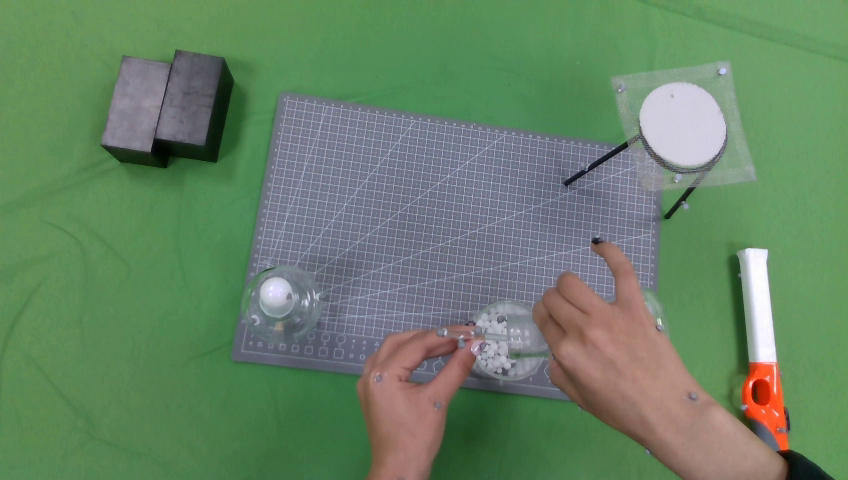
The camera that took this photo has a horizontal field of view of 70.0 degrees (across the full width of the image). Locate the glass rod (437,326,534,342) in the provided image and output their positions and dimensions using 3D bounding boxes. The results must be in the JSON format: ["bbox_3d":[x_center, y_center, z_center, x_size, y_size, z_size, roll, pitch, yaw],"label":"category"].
[{"bbox_3d":[0.059,0.081,0.515,0.008,0.201,0.008,-6,78,28],"label":"glass rod"}]

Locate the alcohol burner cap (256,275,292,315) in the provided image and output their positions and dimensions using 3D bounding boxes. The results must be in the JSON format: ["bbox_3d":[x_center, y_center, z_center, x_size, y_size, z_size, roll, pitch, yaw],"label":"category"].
[{"bbox_3d":[-0.136,0.047,0.550,0.034,0.048,0.033,4,71,-12],"label":"alcohol burner cap"}]

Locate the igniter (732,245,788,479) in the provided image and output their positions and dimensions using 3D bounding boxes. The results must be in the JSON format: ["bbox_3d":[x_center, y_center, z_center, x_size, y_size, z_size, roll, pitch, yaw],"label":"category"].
[{"bbox_3d":[0.371,0.142,0.670,0.057,0.025,0.275,3,79,-16],"label":"igniter"}]

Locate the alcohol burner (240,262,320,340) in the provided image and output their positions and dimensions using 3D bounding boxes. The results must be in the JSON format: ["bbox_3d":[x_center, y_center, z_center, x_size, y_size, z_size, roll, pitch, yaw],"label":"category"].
[{"bbox_3d":[-0.141,0.056,0.585,0.078,0.119,0.077,2,77,-7],"label":"alcohol burner"}]

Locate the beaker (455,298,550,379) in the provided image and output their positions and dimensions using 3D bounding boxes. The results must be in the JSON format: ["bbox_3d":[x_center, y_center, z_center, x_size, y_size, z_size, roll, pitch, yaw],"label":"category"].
[{"bbox_3d":[0.074,0.099,0.607,0.084,0.100,0.073,-11,80,-8],"label":"beaker"}]

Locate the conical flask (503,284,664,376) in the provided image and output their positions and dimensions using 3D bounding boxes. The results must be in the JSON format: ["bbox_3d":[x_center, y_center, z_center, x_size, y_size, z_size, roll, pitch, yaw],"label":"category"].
[{"bbox_3d":[0.127,0.076,0.499,0.122,0.075,0.075,-3,79,3],"label":"conical flask"}]

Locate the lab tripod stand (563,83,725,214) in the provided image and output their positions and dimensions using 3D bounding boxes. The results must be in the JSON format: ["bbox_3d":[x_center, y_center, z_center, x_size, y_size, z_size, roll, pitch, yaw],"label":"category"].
[{"bbox_3d":[0.238,-0.095,0.647,0.148,0.131,0.148,1,80,-7],"label":"lab tripod stand"}]

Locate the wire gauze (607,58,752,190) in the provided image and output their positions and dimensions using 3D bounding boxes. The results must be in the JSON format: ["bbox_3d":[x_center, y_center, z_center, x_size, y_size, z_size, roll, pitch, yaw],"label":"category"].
[{"bbox_3d":[0.248,-0.112,0.583,0.125,0.011,0.121,-8,81,-8],"label":"wire gauze"}]
